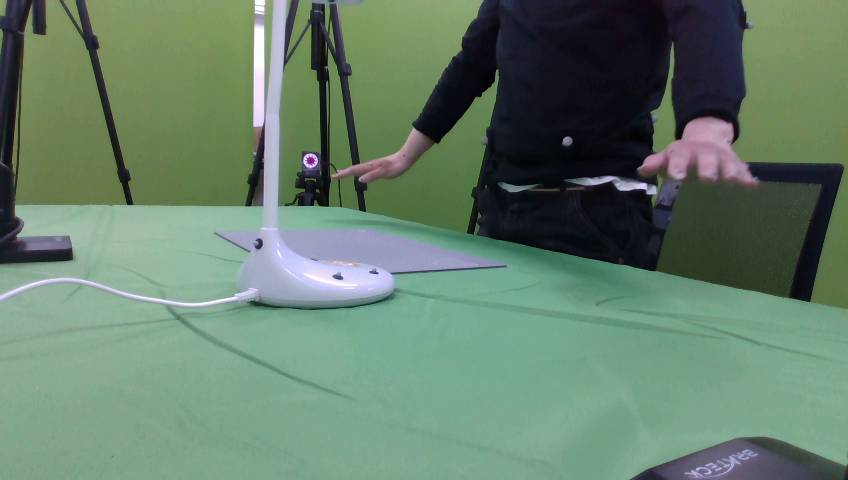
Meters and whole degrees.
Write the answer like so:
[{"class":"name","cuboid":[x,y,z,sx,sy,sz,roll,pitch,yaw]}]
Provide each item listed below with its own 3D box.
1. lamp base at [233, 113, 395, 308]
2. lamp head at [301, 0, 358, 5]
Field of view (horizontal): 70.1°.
[{"class":"lamp base","cuboid":[-0.113,-0.033,0.600,0.160,0.180,0.180,6,11,28]},{"class":"lamp head","cuboid":[-0.095,-0.314,0.610,0.112,0.123,0.112,-4,50,5]}]
